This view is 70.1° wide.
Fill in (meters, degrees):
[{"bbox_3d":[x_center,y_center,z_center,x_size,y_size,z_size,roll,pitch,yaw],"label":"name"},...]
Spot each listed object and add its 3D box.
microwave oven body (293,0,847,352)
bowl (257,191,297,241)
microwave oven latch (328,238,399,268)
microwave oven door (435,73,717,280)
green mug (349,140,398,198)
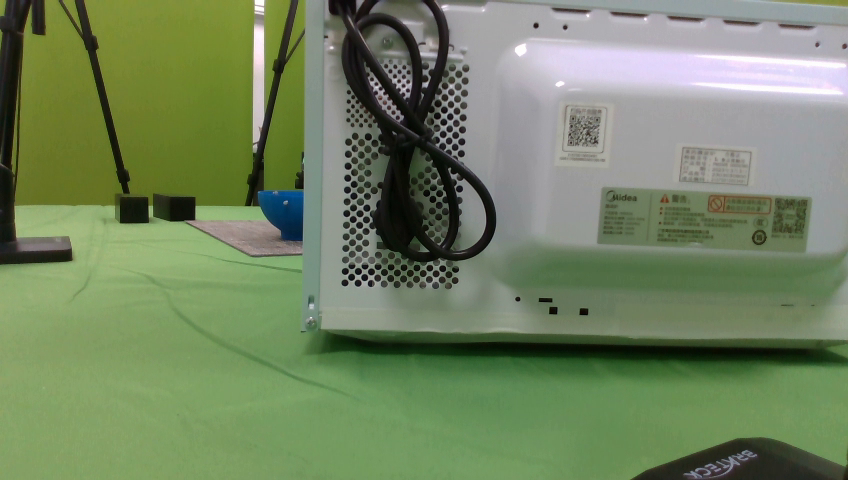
[{"bbox_3d":[0.122,-0.055,0.550,0.442,0.260,0.325,3,7,-5],"label":"microwave oven body"},{"bbox_3d":[-0.206,-0.041,1.027,0.151,0.077,0.151,3,8,0],"label":"bowl"},{"bbox_3d":[-0.069,0.015,0.694,0.079,0.029,0.030,3,7,-3],"label":"microwave oven latch"},{"bbox_3d":[0.180,-0.089,0.795,0.354,0.243,0.039,6,7,30],"label":"microwave oven door"},{"bbox_3d":[-0.089,-0.137,1.155,0.092,0.105,0.125,3,10,19],"label":"green mug"}]
